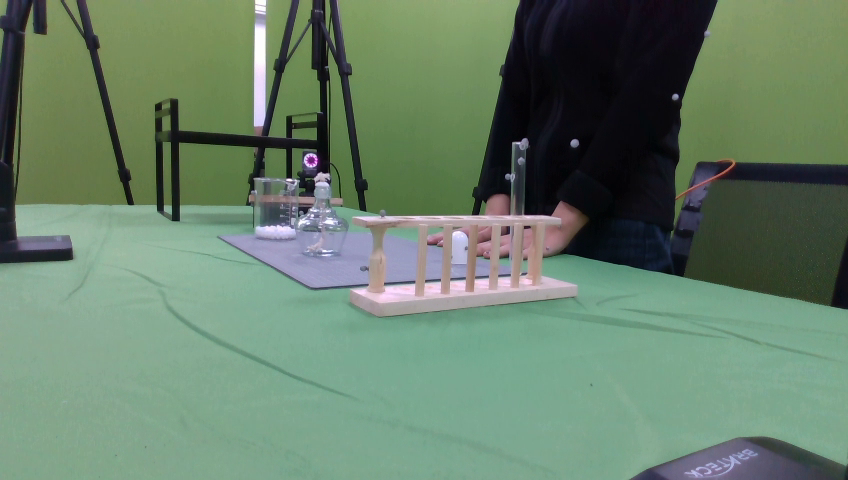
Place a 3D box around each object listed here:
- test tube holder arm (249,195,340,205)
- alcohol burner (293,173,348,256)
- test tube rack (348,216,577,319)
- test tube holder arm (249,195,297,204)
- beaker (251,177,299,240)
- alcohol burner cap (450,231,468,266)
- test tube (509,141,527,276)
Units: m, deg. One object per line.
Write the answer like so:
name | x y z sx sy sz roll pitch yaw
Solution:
test tube holder arm | -0.247 -0.077 1.169 0.179 0.015 0.013 0 9 -31
alcohol burner | -0.147 -0.036 0.859 0.078 0.119 0.078 4 8 0
test tube rack | 0.048 0.021 0.619 0.244 0.085 0.066 -2 9 -31
test tube holder arm | -0.284 -0.076 1.141 0.088 0.015 0.010 0 9 -29
beaker | -0.245 -0.052 1.004 0.083 0.100 0.074 9 10 36
alcohol burner cap | 0.046 0.011 0.838 0.034 0.048 0.034 2 6 0
test tube | 0.102 -0.032 0.662 0.017 0.150 0.017 0 10 0
